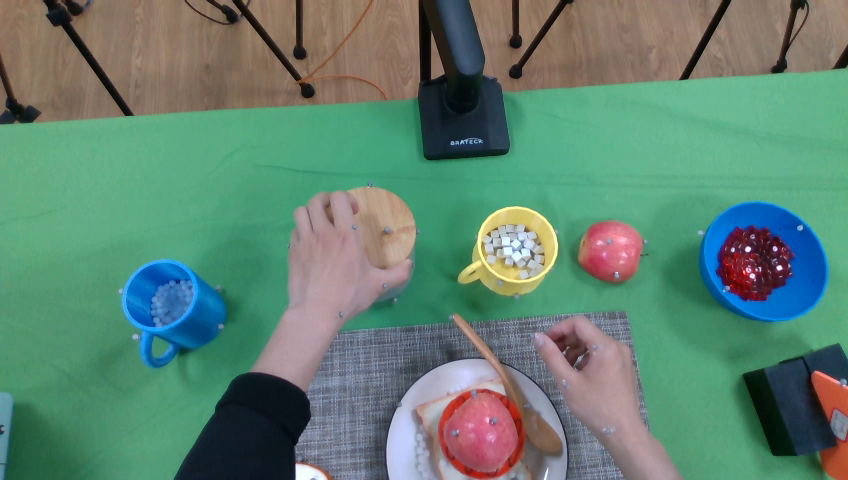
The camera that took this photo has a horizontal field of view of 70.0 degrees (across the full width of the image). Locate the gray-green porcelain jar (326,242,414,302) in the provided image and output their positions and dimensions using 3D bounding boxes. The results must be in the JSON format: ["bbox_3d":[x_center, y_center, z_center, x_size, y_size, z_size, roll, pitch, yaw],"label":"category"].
[{"bbox_3d":[-0.065,0.014,0.727,0.106,0.127,0.105,0,71,-1],"label":"gray-green porcelain jar"}]

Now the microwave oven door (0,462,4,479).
[{"bbox_3d":[-0.471,0.377,0.512,0.039,0.245,0.353,-4,71,-2],"label":"microwave oven door"}]

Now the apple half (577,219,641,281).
[{"bbox_3d":[0.240,0.008,0.776,0.074,0.053,0.080,16,72,7],"label":"apple half"}]

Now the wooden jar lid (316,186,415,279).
[{"bbox_3d":[-0.064,-0.007,0.669,0.108,0.021,0.107,0,70,0],"label":"wooden jar lid"}]

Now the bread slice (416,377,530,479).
[{"bbox_3d":[0.063,0.237,0.701,0.107,0.018,0.133,-19,71,-8],"label":"bread slice"}]

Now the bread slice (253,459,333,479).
[{"bbox_3d":[-0.155,0.314,0.677,0.105,0.019,0.130,3,72,-1],"label":"bread slice"}]

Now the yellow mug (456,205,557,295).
[{"bbox_3d":[0.098,0.021,0.761,0.131,0.064,0.099,-27,74,-9],"label":"yellow mug"}]

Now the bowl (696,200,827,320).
[{"bbox_3d":[0.405,0.033,0.757,0.151,0.077,0.150,0,72,-1],"label":"bowl"}]

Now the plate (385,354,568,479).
[{"bbox_3d":[0.058,0.238,0.697,0.208,0.039,0.206,0,71,-1],"label":"plate"}]

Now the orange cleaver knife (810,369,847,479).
[{"bbox_3d":[0.477,0.251,0.684,0.012,0.077,0.211,-14,94,-13],"label":"orange cleaver knife"}]

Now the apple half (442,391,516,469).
[{"bbox_3d":[0.060,0.202,0.642,0.081,0.033,0.081,-1,74,5],"label":"apple half"}]

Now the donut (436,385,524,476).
[{"bbox_3d":[0.062,0.211,0.675,0.099,0.048,0.098,1,69,-1],"label":"donut"}]

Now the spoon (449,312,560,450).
[{"bbox_3d":[0.091,0.160,0.704,0.042,0.022,0.193,-22,73,-49],"label":"spoon"}]

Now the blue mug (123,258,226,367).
[{"bbox_3d":[-0.294,0.091,0.706,0.082,0.106,0.116,16,71,4],"label":"blue mug"}]

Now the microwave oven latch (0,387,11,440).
[{"bbox_3d":[-0.489,0.204,0.678,0.030,0.029,0.078,2,72,-1],"label":"microwave oven latch"}]
